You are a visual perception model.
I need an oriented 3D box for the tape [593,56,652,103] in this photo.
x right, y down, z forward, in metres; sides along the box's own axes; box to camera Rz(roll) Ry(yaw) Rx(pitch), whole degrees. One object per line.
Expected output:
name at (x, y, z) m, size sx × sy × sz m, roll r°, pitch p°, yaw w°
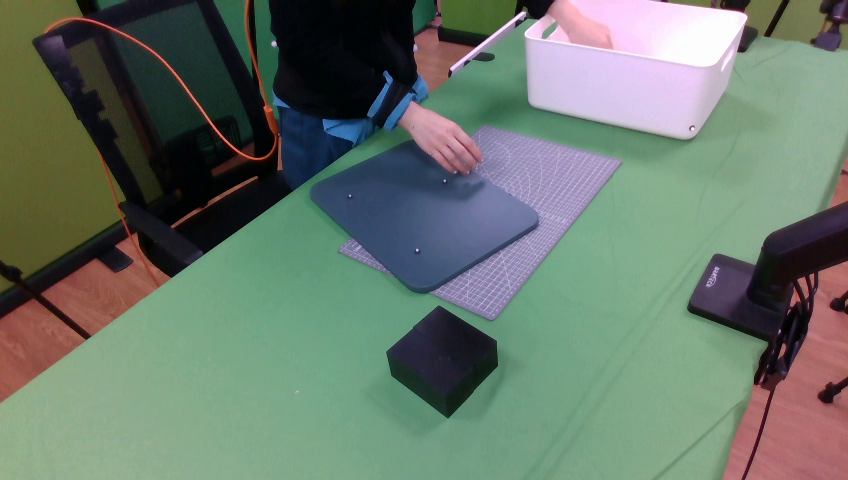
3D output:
tape at (0.410, -0.334, 1.258) m, size 0.117 × 0.053 × 0.116 m, roll -2°, pitch 42°, yaw 2°

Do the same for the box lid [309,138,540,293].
box lid at (-0.010, -0.060, 1.045) m, size 0.264 × 0.015 × 0.368 m, roll -30°, pitch 45°, yaw -24°

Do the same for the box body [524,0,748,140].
box body at (0.412, -0.354, 1.212) m, size 0.361 × 0.161 × 0.254 m, roll 20°, pitch 48°, yaw 29°
